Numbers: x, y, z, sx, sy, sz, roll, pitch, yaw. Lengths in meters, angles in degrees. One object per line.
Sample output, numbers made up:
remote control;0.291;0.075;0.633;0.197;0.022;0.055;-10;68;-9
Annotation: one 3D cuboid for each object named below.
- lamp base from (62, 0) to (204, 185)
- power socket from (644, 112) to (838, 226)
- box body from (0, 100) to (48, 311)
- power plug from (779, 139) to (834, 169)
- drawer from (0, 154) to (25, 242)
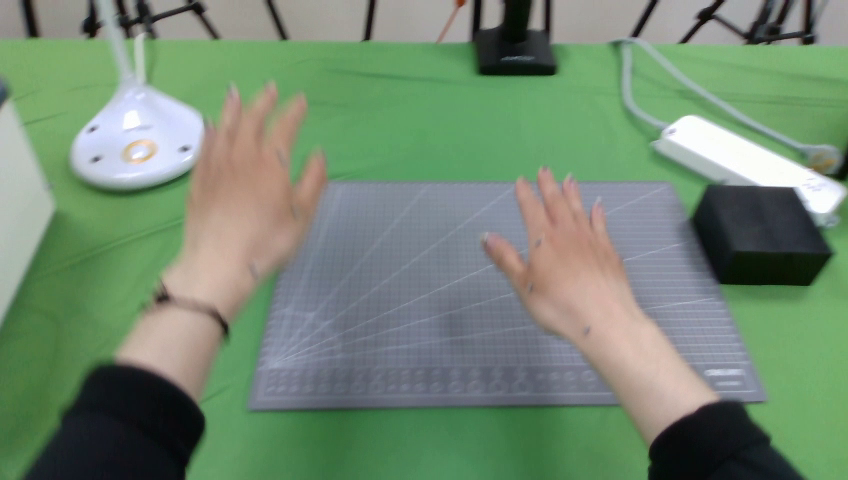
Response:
lamp base;-0.357;-0.183;0.692;0.161;0.182;0.177;-19;47;-19
power socket;0.381;-0.091;0.735;0.072;0.033;0.224;-34;55;-30
box body;-0.509;0.029;0.492;0.254;0.162;0.360;-3;46;-6
power plug;0.476;-0.106;0.765;0.053;0.035;0.072;-24;17;-30
drawer;-0.498;-0.010;0.529;0.195;0.074;0.209;6;36;-14
